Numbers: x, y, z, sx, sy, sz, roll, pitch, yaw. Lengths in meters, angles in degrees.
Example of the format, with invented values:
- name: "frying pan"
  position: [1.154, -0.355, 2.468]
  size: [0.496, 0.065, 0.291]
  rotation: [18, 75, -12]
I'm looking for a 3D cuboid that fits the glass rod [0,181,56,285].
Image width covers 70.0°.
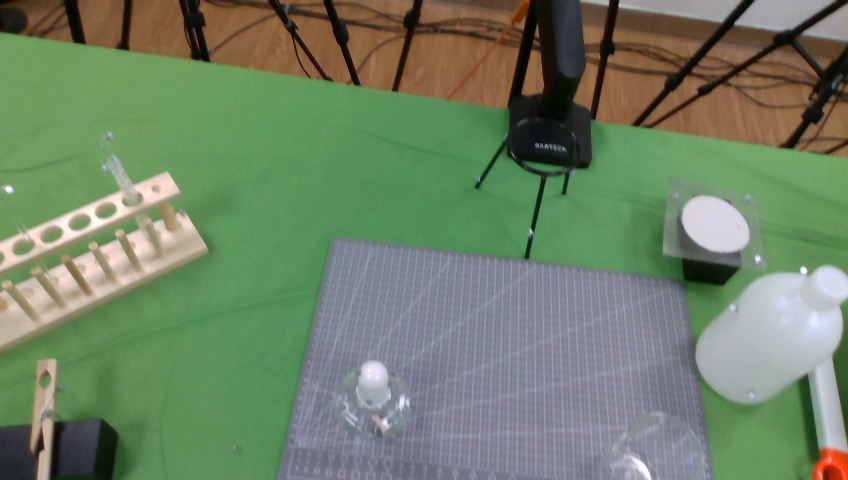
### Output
- name: "glass rod"
  position: [-0.411, -0.015, 0.616]
  size: [0.008, 0.201, 0.008]
  rotation: [5, 47, -5]

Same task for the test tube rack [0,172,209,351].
- name: "test tube rack"
  position: [-0.378, 0.021, 0.676]
  size: [0.242, 0.086, 0.066]
  rotation: [-29, 64, -22]

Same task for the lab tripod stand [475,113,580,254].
- name: "lab tripod stand"
  position: [0.136, -0.077, 0.760]
  size: [0.148, 0.132, 0.147]
  rotation: [3, 58, -5]

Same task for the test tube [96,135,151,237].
- name: "test tube"
  position: [-0.326, -0.055, 0.669]
  size: [0.017, 0.151, 0.017]
  rotation: [1, 51, -1]

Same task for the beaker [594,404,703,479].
- name: "beaker"
  position: [0.212, 0.213, 0.594]
  size: [0.084, 0.101, 0.073]
  rotation: [4, 56, -1]

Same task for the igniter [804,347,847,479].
- name: "igniter"
  position: [0.439, 0.229, 0.652]
  size: [0.057, 0.025, 0.274]
  rotation: [19, 56, -5]

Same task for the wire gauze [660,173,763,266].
- name: "wire gauze"
  position: [0.361, -0.026, 0.763]
  size: [0.121, 0.011, 0.124]
  rotation: [14, 56, 4]

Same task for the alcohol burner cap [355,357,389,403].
- name: "alcohol burner cap"
  position: [-0.049, 0.130, 0.572]
  size: [0.034, 0.048, 0.033]
  rotation: [2, 51, -2]

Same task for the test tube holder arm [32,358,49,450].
- name: "test tube holder arm"
  position: [-0.362, 0.154, 0.572]
  size: [0.010, 0.015, 0.087]
  rotation: [-7, 58, -19]

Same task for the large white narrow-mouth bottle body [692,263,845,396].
- name: "large white narrow-mouth bottle body"
  position: [0.368, 0.087, 0.637]
  size: [0.102, 0.196, 0.101]
  rotation: [2, 56, -3]

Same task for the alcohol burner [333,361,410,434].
- name: "alcohol burner"
  position: [-0.051, 0.150, 0.602]
  size: [0.078, 0.120, 0.077]
  rotation: [4, 56, -5]

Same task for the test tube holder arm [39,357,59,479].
- name: "test tube holder arm"
  position: [-0.344, 0.190, 0.552]
  size: [0.013, 0.015, 0.176]
  rotation: [-7, 58, -20]

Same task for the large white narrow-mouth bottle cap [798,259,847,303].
- name: "large white narrow-mouth bottle cap"
  position: [0.373, 0.038, 0.567]
  size: [0.038, 0.024, 0.037]
  rotation: [2, 56, -3]
